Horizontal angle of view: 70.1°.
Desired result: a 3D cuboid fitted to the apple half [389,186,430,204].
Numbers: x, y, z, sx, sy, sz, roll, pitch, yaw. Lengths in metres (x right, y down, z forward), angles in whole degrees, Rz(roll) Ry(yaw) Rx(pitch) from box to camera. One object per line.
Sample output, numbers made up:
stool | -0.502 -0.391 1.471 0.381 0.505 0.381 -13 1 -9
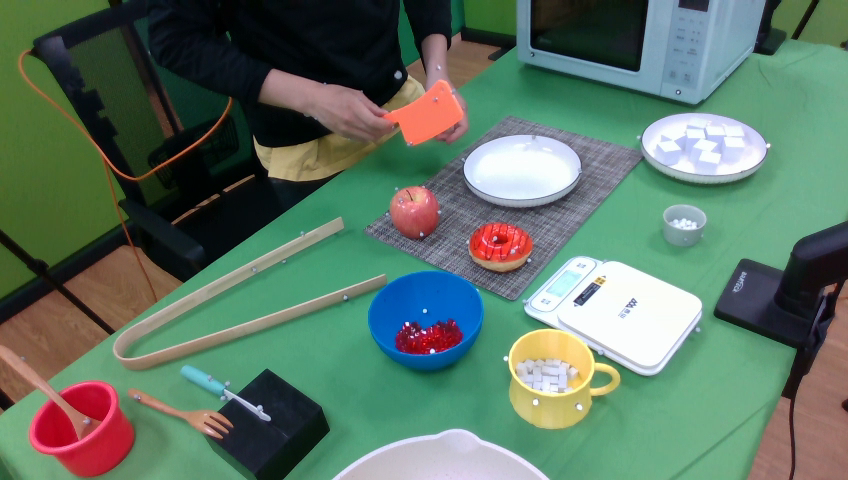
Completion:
apple half | -0.019 -0.061 1.002 0.081 0.081 0.032 -9 44 -1

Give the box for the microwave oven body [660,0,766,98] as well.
microwave oven body | 0.472 -0.513 1.317 0.438 0.261 0.327 26 51 34

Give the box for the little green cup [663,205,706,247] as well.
little green cup | 0.396 -0.020 0.926 0.061 0.039 0.061 -4 40 4

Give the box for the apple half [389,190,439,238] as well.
apple half | -0.014 -0.035 0.973 0.081 0.075 0.053 -6 44 -4

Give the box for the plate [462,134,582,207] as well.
plate | 0.173 -0.119 1.070 0.209 0.038 0.208 -4 40 4

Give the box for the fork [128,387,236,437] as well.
fork | -0.305 0.207 0.744 0.206 0.019 0.028 3 42 36

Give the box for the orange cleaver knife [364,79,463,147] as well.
orange cleaver knife | -0.021 -0.190 0.963 0.210 0.077 0.012 -13 5 46

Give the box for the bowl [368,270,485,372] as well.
bowl | 0.007 0.118 0.791 0.151 0.077 0.150 -5 40 4

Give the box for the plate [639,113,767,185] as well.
plate | 0.489 -0.157 1.074 0.207 0.039 0.206 -4 40 4

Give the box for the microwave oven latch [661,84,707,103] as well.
microwave oven latch | 0.517 -0.296 1.204 0.078 0.029 0.030 27 52 35

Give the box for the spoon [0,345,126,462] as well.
spoon | -0.434 0.192 0.720 0.194 0.021 0.042 47 53 -7

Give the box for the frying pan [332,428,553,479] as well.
frying pan | -0.089 0.306 0.564 0.487 0.103 0.306 10 41 7

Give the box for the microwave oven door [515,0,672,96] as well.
microwave oven door | 0.343 -0.454 1.259 0.353 0.245 0.039 26 51 33

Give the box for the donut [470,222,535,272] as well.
donut | 0.119 0.009 0.923 0.099 0.048 0.098 -4 38 3

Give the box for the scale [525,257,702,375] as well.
scale | 0.254 0.091 0.821 0.199 0.032 0.149 28 51 35

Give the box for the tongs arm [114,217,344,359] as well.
tongs arm | -0.280 0.068 0.927 0.386 0.026 0.050 -29 49 -23

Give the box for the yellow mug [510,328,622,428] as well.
yellow mug | 0.169 0.164 0.722 0.130 0.064 0.099 0 40 8

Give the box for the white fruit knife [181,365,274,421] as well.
white fruit knife | -0.246 0.187 0.747 0.205 0.027 0.016 9 41 40

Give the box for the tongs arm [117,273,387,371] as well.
tongs arm | -0.236 0.116 0.871 0.389 0.028 0.028 -18 49 -12
